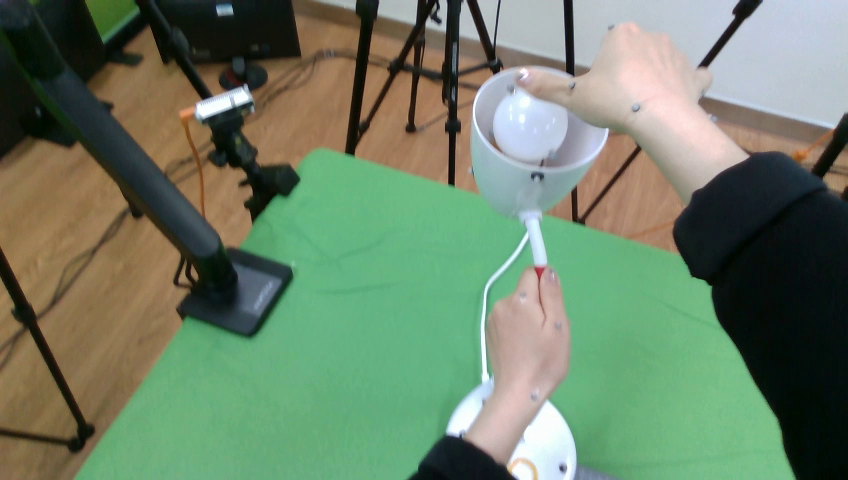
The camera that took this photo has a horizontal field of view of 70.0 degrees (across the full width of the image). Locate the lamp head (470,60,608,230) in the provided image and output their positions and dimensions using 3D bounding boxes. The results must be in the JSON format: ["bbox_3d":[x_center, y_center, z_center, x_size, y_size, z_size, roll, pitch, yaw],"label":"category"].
[{"bbox_3d":[0.091,-0.073,0.531,0.112,0.124,0.111,2,55,-2],"label":"lamp head"}]

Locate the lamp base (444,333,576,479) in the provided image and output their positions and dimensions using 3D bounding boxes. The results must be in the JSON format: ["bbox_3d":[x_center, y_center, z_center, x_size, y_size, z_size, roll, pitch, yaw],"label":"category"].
[{"bbox_3d":[0.101,0.195,0.678,0.161,0.182,0.177,-18,55,-15],"label":"lamp base"}]

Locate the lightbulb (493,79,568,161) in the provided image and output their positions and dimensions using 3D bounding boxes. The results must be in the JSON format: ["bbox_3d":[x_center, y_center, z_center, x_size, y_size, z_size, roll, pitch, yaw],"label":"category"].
[{"bbox_3d":[0.086,-0.089,0.512,0.059,0.108,0.059,0,65,1],"label":"lightbulb"}]
